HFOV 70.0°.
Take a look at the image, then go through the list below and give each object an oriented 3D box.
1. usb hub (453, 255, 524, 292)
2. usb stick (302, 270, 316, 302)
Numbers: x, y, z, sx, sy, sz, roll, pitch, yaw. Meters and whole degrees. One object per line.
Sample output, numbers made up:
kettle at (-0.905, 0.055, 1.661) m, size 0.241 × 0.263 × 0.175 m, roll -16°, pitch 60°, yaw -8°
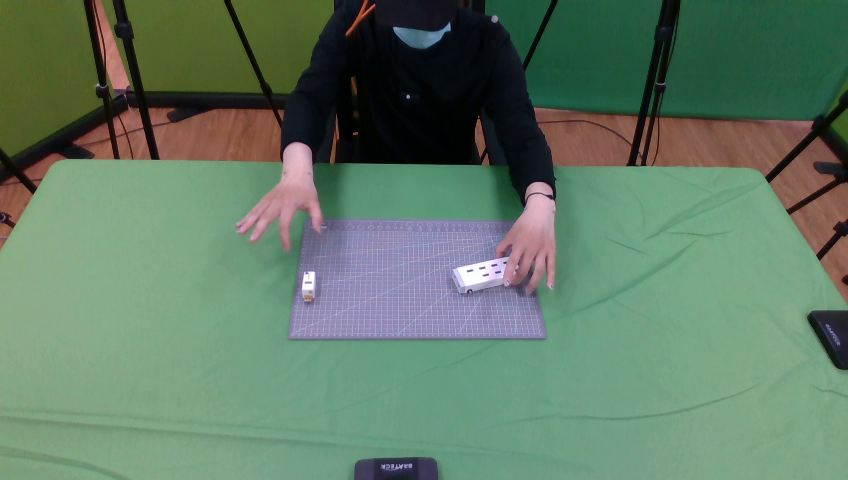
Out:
usb hub at (0.121, 0.063, 1.135) m, size 0.125 × 0.025 × 0.049 m, roll -12°, pitch 46°, yaw -13°
usb stick at (-0.207, 0.085, 1.092) m, size 0.021 × 0.027 × 0.059 m, roll 1°, pitch 49°, yaw -5°
